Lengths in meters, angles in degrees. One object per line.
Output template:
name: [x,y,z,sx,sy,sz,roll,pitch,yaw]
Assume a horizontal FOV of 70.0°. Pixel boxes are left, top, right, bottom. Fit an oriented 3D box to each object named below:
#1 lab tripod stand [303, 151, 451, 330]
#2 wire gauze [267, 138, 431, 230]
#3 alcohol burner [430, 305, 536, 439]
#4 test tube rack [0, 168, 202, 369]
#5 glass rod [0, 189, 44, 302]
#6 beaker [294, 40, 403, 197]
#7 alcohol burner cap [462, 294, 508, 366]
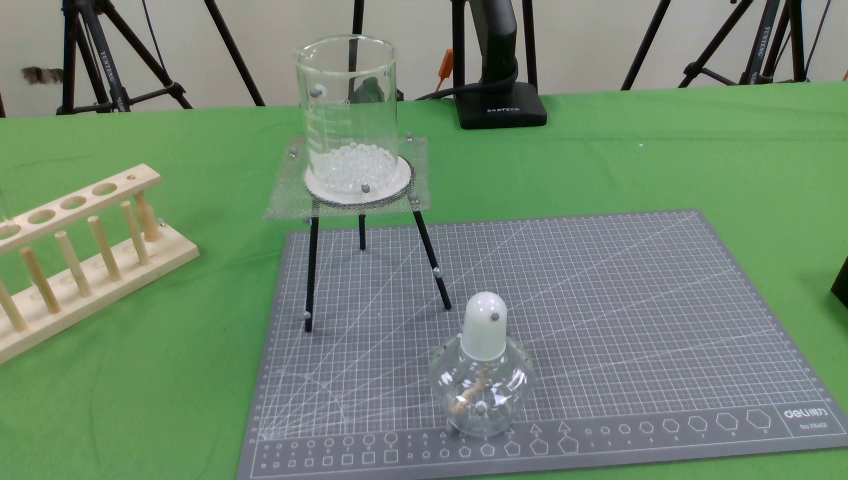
lab tripod stand: [-0.046,0.000,0.529,0.148,0.132,0.147,0,37,0]
wire gauze: [-0.056,-0.051,0.486,0.121,0.011,0.124,-2,40,0]
alcohol burner: [0.043,0.086,0.431,0.078,0.120,0.077,0,40,1]
test tube rack: [-0.334,0.029,0.545,0.066,0.086,0.242,28,46,33]
glass rod: [-0.358,-0.030,0.513,0.008,0.201,0.008,0,30,0]
beaker: [-0.057,-0.090,0.458,0.083,0.101,0.074,22,43,25]
alcohol burner cap: [0.043,0.058,0.408,0.034,0.048,0.033,1,39,0]
